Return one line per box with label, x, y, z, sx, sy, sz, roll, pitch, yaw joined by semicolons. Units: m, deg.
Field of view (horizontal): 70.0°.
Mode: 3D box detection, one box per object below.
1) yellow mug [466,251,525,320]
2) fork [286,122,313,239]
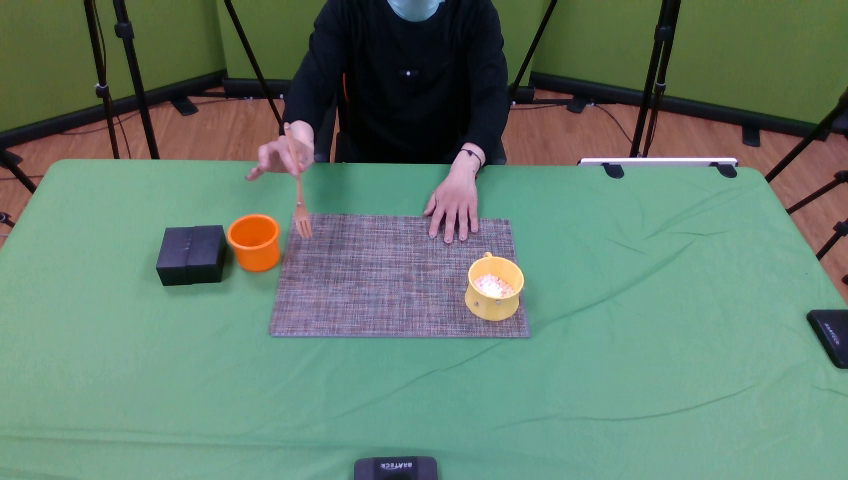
yellow mug;0.125;0.074;1.096;0.100;0.064;0.130;-4;45;-7
fork;-0.223;-0.105;1.072;0.028;0.207;0.018;-12;9;-37
